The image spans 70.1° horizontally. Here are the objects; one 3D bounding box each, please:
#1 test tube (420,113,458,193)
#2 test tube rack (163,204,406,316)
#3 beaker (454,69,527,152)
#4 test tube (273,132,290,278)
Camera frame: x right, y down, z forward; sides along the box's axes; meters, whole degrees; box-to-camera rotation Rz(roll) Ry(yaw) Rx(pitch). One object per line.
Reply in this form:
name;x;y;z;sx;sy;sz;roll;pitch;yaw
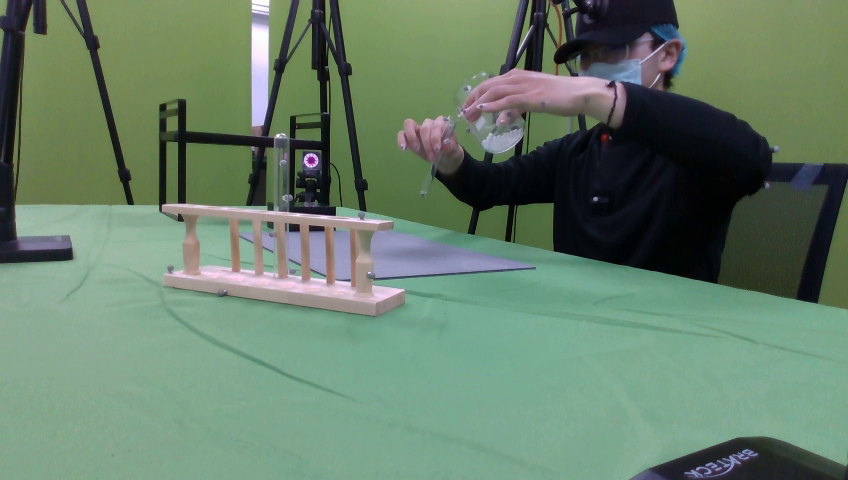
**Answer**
test tube;0.022;-0.135;0.964;0.017;0.150;0.017;14;39;-11
test tube rack;-0.141;0.013;0.601;0.241;0.085;0.067;5;8;21
beaker;0.096;-0.183;0.878;0.074;0.100;0.084;8;-44;-49
test tube;-0.146;-0.034;0.617;0.017;0.150;0.017;2;8;0
